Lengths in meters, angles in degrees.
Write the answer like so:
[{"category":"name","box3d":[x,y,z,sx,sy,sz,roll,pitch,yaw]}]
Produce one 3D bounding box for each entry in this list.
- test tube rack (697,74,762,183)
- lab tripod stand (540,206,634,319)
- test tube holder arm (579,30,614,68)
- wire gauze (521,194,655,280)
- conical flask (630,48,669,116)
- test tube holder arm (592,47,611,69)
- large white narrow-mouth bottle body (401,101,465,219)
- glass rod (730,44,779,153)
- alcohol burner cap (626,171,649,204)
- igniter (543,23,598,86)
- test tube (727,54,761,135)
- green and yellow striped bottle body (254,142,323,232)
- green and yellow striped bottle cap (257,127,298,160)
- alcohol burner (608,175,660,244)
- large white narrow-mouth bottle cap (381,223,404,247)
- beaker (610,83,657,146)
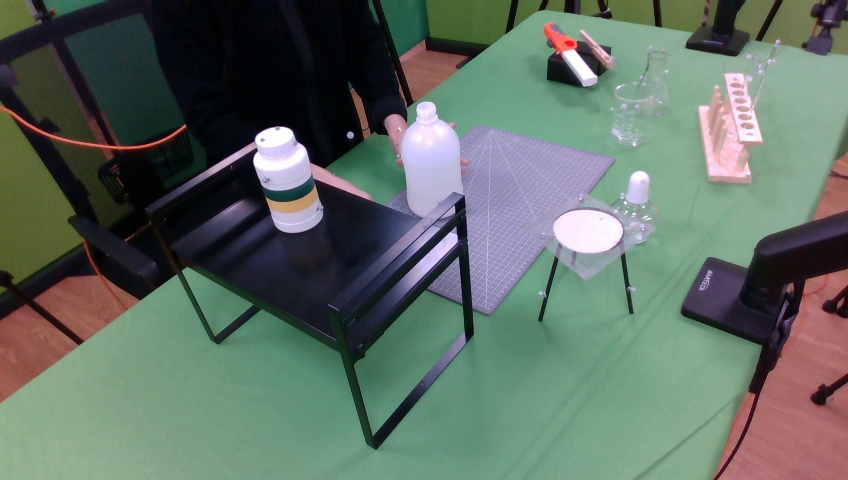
[{"category":"test tube rack","box3d":[0.547,-0.208,1.095,0.066,0.085,0.242,5,42,15]},{"category":"lab tripod stand","box3d":[0.218,0.034,0.821,0.148,0.132,0.147,-4,42,4]},{"category":"test tube holder arm","box3d":[0.384,-0.428,1.351,0.013,0.015,0.177,-11,41,-3]},{"category":"wire gauze","box3d":[0.207,-0.012,0.772,0.122,0.011,0.124,-28,44,-20]},{"category":"conical flask","box3d":[0.457,-0.317,1.205,0.075,0.122,0.075,-4,41,4]},{"category":"test tube holder arm","box3d":[0.386,-0.398,1.317,0.010,0.015,0.087,-10,41,-2]},{"category":"large white narrow-mouth bottle body","box3d":[0.013,-0.136,0.999,0.102,0.195,0.101,-5,39,5]},{"category":"glass rod","box3d":[0.555,-0.234,1.021,0.008,0.200,0.008,2,40,-1]},{"category":"alcohol burner cap","box3d":[0.320,-0.081,0.900,0.034,0.048,0.033,-4,42,4]},{"category":"igniter","box3d":[0.320,-0.419,1.345,0.057,0.025,0.274,-12,44,-3]},{"category":"test tube","box3d":[0.564,-0.254,1.069,0.017,0.151,0.017,-1,40,1]},{"category":"green and yellow striped bottle body","box3d":[-0.165,-0.073,0.732,0.063,0.120,0.063,-4,41,4]},{"category":"green and yellow striped bottle cap","box3d":[-0.169,-0.112,0.698,0.045,0.020,0.045,-5,40,5]},{"category":"alcohol burner","box3d":[0.322,-0.053,0.924,0.078,0.119,0.077,-4,43,4]},{"category":"large white narrow-mouth bottle cap","box3d":[-0.052,-0.008,0.993,0.038,0.024,0.037,-5,39,4]},{"category":"beaker","box3d":[0.388,-0.235,1.138,0.074,0.101,0.083,-31,45,-25]}]
